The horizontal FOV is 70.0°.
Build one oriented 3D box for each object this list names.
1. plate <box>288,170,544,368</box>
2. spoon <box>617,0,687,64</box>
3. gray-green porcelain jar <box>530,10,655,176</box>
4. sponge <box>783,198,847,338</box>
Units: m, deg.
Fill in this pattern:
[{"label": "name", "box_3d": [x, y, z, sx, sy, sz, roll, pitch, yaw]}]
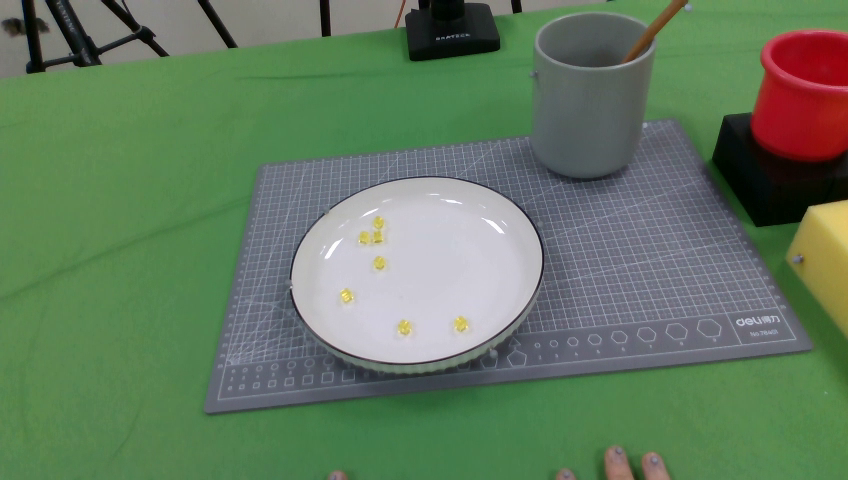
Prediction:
[{"label": "plate", "box_3d": [-0.006, 0.021, 0.505, 0.207, 0.039, 0.205, -4, 45, 4]}, {"label": "spoon", "box_3d": [0.180, -0.155, 0.539, 0.022, 0.194, 0.041, 25, 42, -7]}, {"label": "gray-green porcelain jar", "box_3d": [0.153, -0.133, 0.573, 0.106, 0.128, 0.105, -4, 46, 4]}, {"label": "sponge", "box_3d": [0.367, 0.054, 0.413, 0.118, 0.061, 0.204, -11, 45, -3]}]
